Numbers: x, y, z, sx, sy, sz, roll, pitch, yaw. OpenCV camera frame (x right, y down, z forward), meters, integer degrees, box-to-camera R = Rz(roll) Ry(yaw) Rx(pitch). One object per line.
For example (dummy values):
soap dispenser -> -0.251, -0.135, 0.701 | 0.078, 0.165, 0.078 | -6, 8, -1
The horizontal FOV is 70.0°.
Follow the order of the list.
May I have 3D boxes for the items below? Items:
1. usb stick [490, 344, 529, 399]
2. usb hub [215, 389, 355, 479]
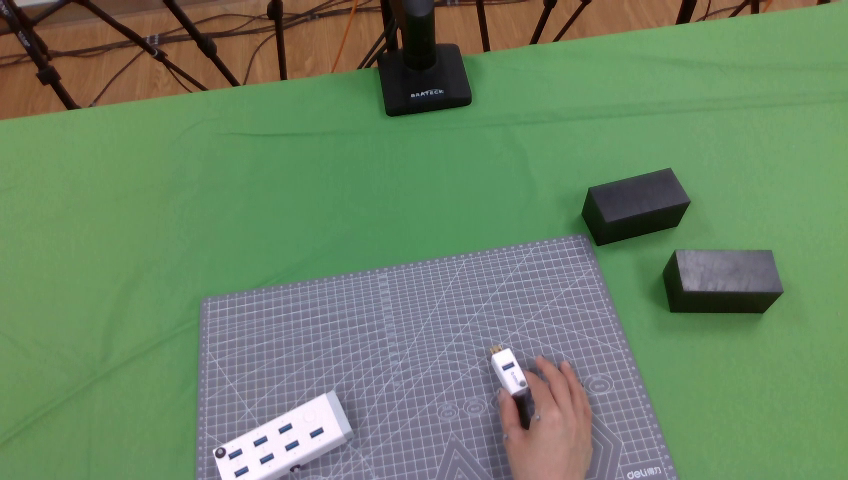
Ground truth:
usb stick -> 0.084, 0.129, 0.616 | 0.021, 0.027, 0.058 | -23, 56, -7
usb hub -> -0.134, 0.195, 0.587 | 0.125, 0.025, 0.049 | -24, 60, -13
